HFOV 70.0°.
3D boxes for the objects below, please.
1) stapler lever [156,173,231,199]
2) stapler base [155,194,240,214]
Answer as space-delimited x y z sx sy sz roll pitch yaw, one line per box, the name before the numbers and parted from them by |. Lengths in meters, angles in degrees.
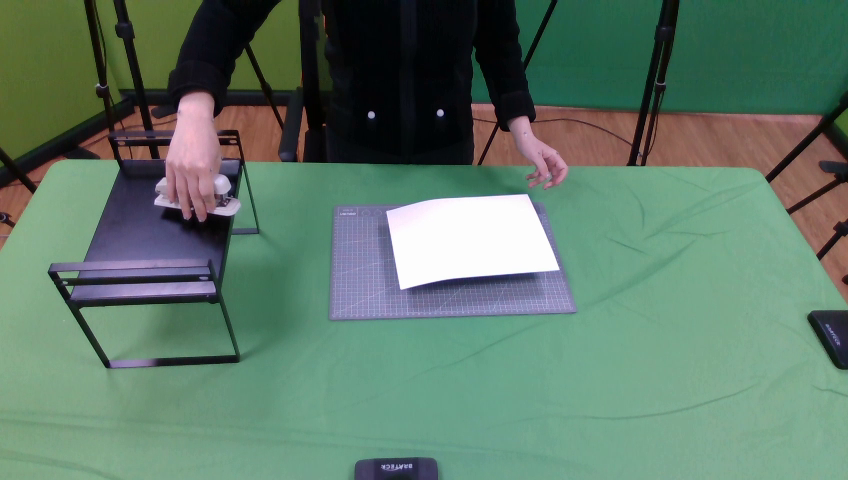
stapler lever | -0.361 -0.087 0.948 0.118 0.040 0.026 6 36 5
stapler base | -0.360 -0.067 0.964 0.130 0.024 0.041 6 36 5
